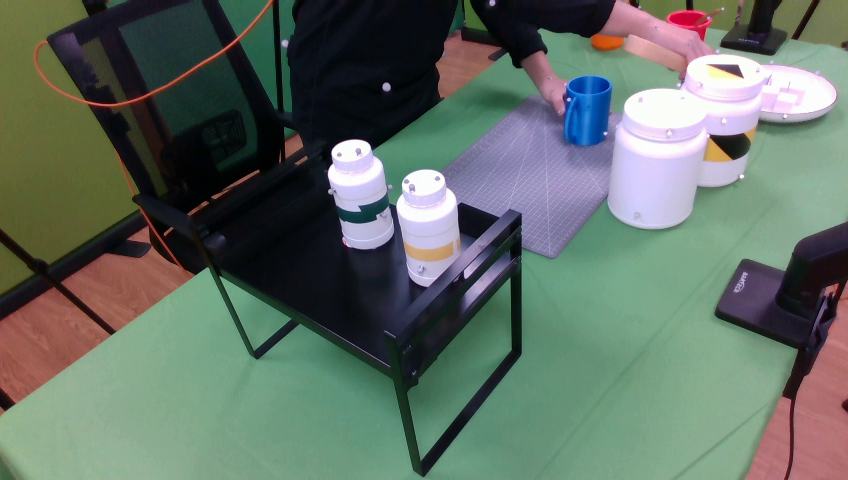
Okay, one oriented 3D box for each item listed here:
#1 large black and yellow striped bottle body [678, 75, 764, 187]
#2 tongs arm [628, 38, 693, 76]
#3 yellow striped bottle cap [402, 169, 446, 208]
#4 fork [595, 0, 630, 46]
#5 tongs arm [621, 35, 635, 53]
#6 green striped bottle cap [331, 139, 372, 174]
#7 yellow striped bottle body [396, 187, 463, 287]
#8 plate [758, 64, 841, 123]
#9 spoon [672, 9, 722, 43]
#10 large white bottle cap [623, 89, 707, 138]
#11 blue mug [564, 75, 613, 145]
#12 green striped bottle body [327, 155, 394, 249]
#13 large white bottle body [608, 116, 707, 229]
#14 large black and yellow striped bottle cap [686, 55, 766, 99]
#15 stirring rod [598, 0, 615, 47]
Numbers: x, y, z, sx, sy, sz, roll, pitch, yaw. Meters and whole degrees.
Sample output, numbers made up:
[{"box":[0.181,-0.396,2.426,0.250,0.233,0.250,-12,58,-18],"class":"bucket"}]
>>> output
[{"box":[0.482,-0.196,1.008,0.131,0.185,0.130,-4,41,4],"class":"large black and yellow striped bottle body"},{"box":[0.495,-0.295,1.075,0.391,0.028,0.028,4,34,-37],"class":"tongs arm"},{"box":[0.000,-0.052,0.605,0.044,0.019,0.044,-4,42,4],"class":"yellow striped bottle cap"},{"box":[0.480,-0.556,1.452,0.028,0.019,0.207,41,103,40],"class":"fork"},{"box":[0.482,-0.308,1.092,0.388,0.026,0.050,6,29,-33],"class":"tongs arm"},{"box":[-0.080,-0.092,0.665,0.044,0.020,0.044,-3,40,3],"class":"green striped bottle cap"},{"box":[0.006,-0.013,0.638,0.063,0.121,0.062,-5,41,5],"class":"yellow striped bottle body"},{"box":[0.694,-0.283,1.189,0.207,0.039,0.206,-4,41,4],"class":"plate"},{"box":[0.606,-0.476,1.345,0.042,0.021,0.193,-6,-3,-2],"class":"spoon"},{"box":[0.352,-0.187,0.886,0.115,0.018,0.114,-4,41,4],"class":"large white bottle cap"},{"box":[0.300,-0.238,1.141,0.081,0.106,0.117,28,53,35],"class":"blue mug"},{"box":[-0.073,-0.053,0.699,0.063,0.120,0.063,-5,41,4],"class":"green striped bottle body"},{"box":[0.361,-0.123,0.942,0.130,0.185,0.130,-5,41,4],"class":"large white bottle body"},{"box":[0.474,-0.258,0.952,0.115,0.019,0.114,-5,41,5],"class":"large black and yellow striped bottle cap"},{"box":[0.437,-0.551,1.462,0.014,0.006,0.175,-11,83,1],"class":"stirring rod"}]
